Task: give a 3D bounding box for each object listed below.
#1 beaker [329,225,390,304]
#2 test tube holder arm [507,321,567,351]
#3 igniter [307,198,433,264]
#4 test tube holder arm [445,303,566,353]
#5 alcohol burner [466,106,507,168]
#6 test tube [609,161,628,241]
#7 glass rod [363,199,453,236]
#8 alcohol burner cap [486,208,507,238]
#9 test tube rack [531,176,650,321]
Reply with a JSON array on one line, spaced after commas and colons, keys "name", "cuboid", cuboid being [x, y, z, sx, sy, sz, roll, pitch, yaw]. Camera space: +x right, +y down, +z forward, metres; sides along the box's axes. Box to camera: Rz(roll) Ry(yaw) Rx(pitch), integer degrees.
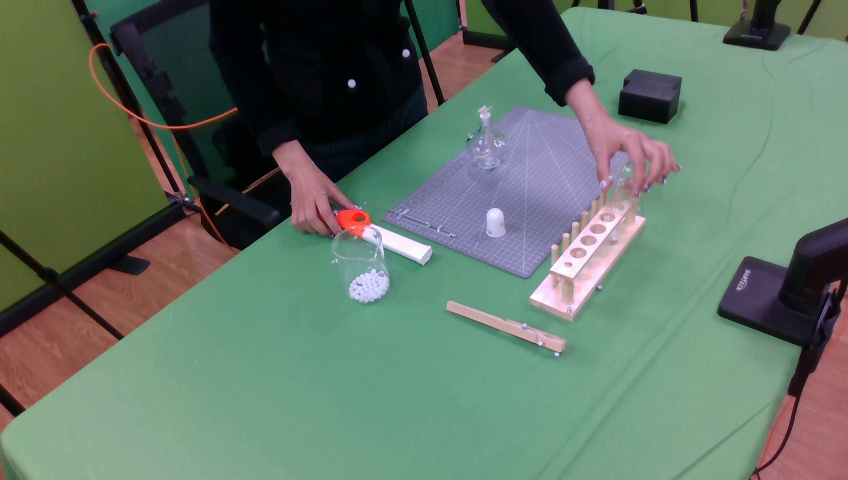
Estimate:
[{"name": "beaker", "cuboid": [-0.089, 0.040, 0.890, 0.074, 0.101, 0.083, -32, 45, -24]}, {"name": "test tube holder arm", "cuboid": [0.148, 0.128, 0.808, 0.087, 0.015, 0.010, 16, 11, 28]}, {"name": "igniter", "cuboid": [-0.101, -0.020, 1.019, 0.274, 0.025, 0.057, 22, 59, 32]}, {"name": "test tube holder arm", "cuboid": [0.107, 0.117, 0.823, 0.177, 0.015, 0.013, 16, 11, 27]}, {"name": "alcohol burner", "cuboid": [0.115, -0.193, 1.112, 0.078, 0.119, 0.077, -4, 41, 4]}, {"name": "test tube", "cuboid": [0.277, -0.051, 0.864, 0.017, 0.151, 0.017, -6, 47, 7]}, {"name": "glass rod", "cuboid": [-0.031, -0.041, 1.041, 0.198, 0.008, 0.008, 22, 50, 31]}, {"name": "alcohol burner cap", "cuboid": [0.116, -0.030, 0.975, 0.034, 0.048, 0.033, -6, 40, 5]}, {"name": "test tube rack", "cuboid": [0.246, 0.002, 0.884, 0.066, 0.085, 0.243, 23, 49, 32]}]
